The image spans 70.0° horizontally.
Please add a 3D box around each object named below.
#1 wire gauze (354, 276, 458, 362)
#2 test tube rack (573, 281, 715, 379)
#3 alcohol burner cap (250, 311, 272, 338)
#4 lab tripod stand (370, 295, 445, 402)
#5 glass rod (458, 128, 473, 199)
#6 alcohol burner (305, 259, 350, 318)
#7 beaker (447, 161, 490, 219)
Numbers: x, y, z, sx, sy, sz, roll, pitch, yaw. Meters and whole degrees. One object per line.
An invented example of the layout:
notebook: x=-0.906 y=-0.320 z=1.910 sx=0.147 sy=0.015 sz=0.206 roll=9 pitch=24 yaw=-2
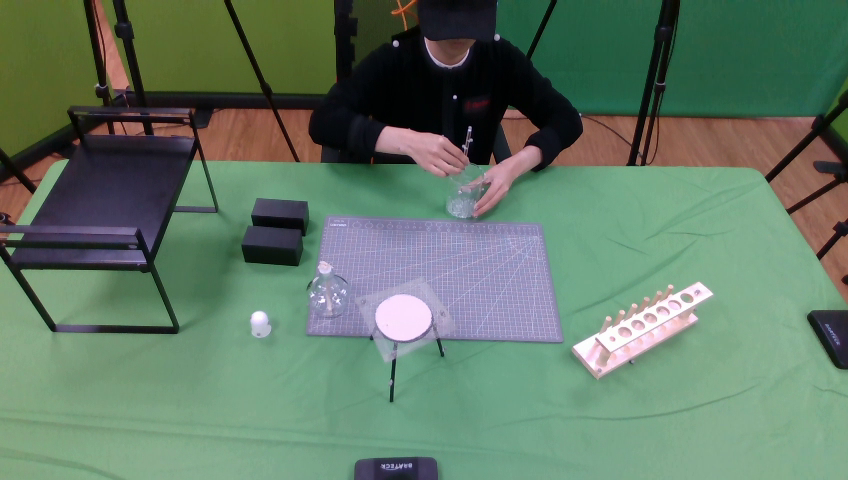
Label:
wire gauze: x=-0.029 y=0.113 z=0.912 sx=0.121 sy=0.011 sz=0.124 roll=-18 pitch=49 yaw=-19
test tube rack: x=0.378 y=0.140 z=1.038 sx=0.242 sy=0.085 sz=0.066 roll=-22 pitch=51 yaw=-22
alcohol burner cap: x=-0.278 y=0.141 z=1.026 sx=0.034 sy=0.048 sz=0.033 roll=1 pitch=46 yaw=-1
lab tripod stand: x=-0.036 y=0.160 z=0.959 sx=0.148 sy=0.132 sz=0.147 roll=1 pitch=46 yaw=0
glass rod: x=0.083 y=-0.150 z=1.218 sx=0.008 sy=0.200 sz=0.008 roll=2 pitch=53 yaw=-3
alcohol burner: x=-0.166 y=0.078 z=1.040 sx=0.078 sy=0.120 sz=0.077 roll=1 pitch=44 yaw=-1
beaker: x=0.088 y=-0.099 z=1.243 sx=0.084 sy=0.101 sz=0.073 roll=5 pitch=46 yaw=1
